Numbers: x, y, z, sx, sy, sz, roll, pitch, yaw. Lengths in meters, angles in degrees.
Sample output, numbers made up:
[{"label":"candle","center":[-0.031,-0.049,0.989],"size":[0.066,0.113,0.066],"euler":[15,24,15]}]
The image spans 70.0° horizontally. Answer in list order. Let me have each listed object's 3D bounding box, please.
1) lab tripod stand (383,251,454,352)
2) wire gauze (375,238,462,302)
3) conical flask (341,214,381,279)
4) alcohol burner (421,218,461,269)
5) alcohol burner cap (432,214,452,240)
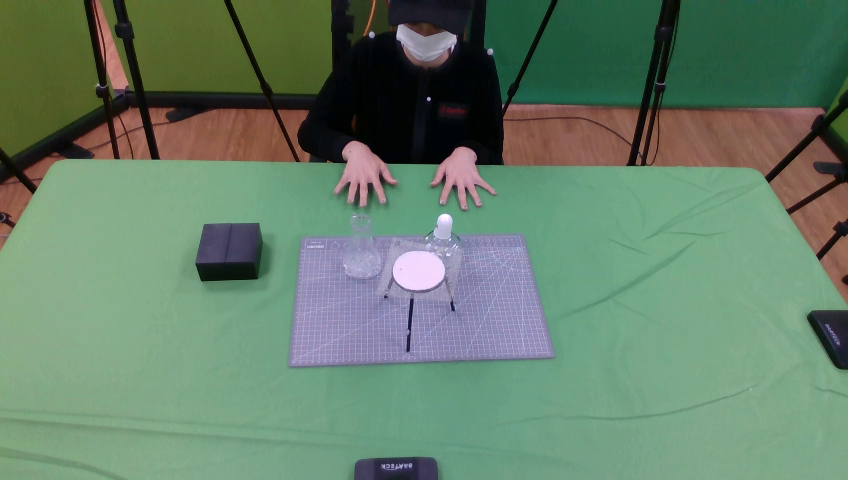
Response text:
[{"label":"lab tripod stand","center":[-0.015,0.094,1.025],"size":[0.148,0.132,0.147],"euler":[1,46,-1]},{"label":"wire gauze","center":[-0.006,0.048,0.977],"size":[0.121,0.011,0.124],"euler":[9,45,5]},{"label":"conical flask","center":[-0.116,0.009,1.107],"size":[0.075,0.122,0.075],"euler":[2,46,-2]},{"label":"alcohol burner","center":[0.033,-0.001,1.135],"size":[0.078,0.119,0.077],"euler":[2,48,-3]},{"label":"alcohol burner cap","center":[0.035,-0.027,1.110],"size":[0.034,0.048,0.033],"euler":[7,42,-6]}]
